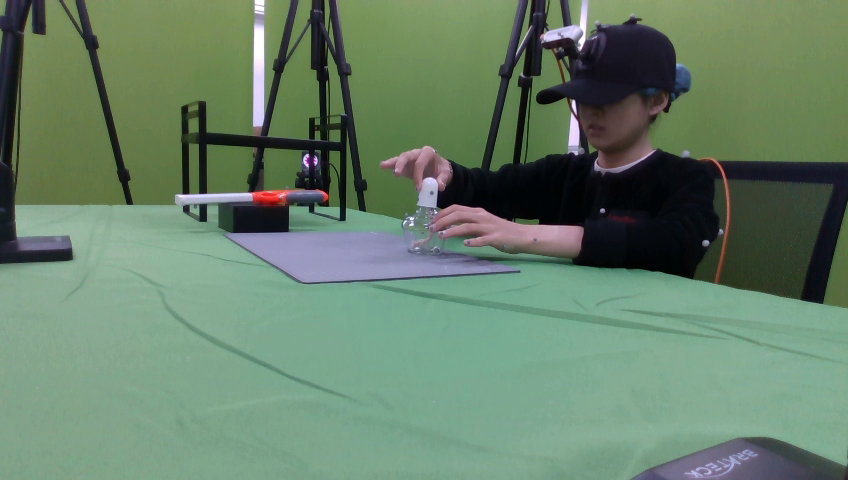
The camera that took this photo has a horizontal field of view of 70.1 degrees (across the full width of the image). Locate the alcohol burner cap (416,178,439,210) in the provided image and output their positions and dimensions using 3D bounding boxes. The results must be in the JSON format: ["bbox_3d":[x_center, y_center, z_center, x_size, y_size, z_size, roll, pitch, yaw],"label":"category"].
[{"bbox_3d":[0.006,-0.071,0.917,0.034,0.048,0.034,7,4,0],"label":"alcohol burner cap"}]

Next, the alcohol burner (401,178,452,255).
[{"bbox_3d":[0.005,-0.036,0.922,0.078,0.119,0.078,4,7,0],"label":"alcohol burner"}]

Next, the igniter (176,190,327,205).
[{"bbox_3d":[-0.316,-0.080,1.137,0.278,0.025,0.057,-4,12,-33],"label":"igniter"}]
